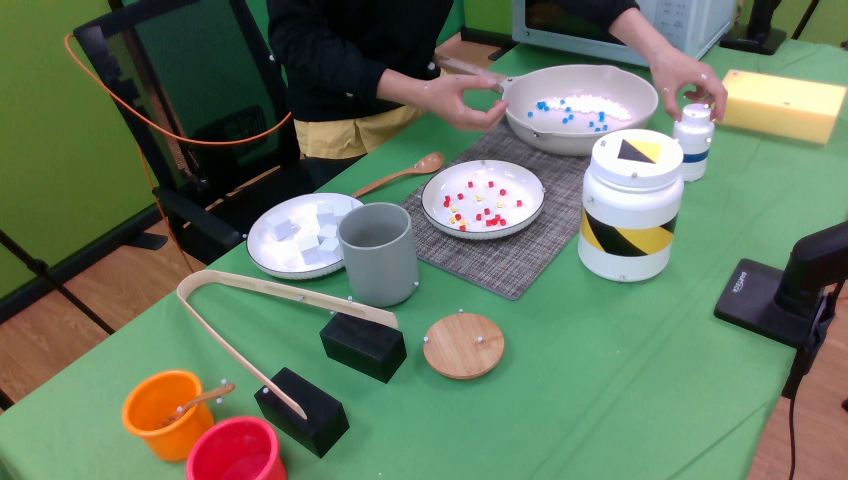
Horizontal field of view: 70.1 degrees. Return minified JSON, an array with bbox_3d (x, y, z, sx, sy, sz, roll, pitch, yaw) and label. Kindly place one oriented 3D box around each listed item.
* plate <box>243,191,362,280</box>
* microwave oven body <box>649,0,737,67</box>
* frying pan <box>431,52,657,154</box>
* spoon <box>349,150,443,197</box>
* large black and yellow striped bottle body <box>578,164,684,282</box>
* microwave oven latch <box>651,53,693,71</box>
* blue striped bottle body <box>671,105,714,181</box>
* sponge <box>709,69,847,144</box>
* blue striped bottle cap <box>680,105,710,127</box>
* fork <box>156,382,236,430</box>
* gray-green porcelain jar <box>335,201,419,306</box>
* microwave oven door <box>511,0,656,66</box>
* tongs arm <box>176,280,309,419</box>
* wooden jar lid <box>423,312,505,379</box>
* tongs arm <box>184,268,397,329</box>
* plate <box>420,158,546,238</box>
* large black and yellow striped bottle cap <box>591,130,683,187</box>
[{"bbox_3d":[-0.188,-0.005,0.992,0.207,0.039,0.206,-4,41,4],"label":"plate"},{"bbox_3d":[0.475,-0.602,1.411,0.438,0.261,0.327,23,50,32],"label":"microwave oven body"},{"bbox_3d":[0.215,-0.302,1.223,0.484,0.103,0.308,29,49,24],"label":"frying pan"},{"bbox_3d":[-0.051,-0.123,1.120,0.194,0.022,0.041,-23,60,-18],"label":"spoon"},{"bbox_3d":[0.291,-0.046,0.859,0.131,0.185,0.130,-4,41,4],"label":"large black and yellow striped bottle body"},{"bbox_3d":[0.532,-0.387,1.301,0.078,0.029,0.030,28,52,35],"label":"microwave oven latch"},{"bbox_3d":[0.451,-0.165,1.022,0.063,0.121,0.063,-4,40,4],"label":"blue striped bottle body"},{"bbox_3d":[0.663,-0.256,1.141,0.205,0.061,0.118,19,47,27],"label":"sponge"},{"bbox_3d":[0.444,-0.204,0.989,0.044,0.021,0.044,-4,38,4],"label":"blue striped bottle cap"},{"bbox_3d":[-0.262,0.189,0.690,0.018,0.206,0.028,49,43,-7],"label":"fork"},{"bbox_3d":[-0.064,0.024,0.872,0.106,0.127,0.105,-4,41,4],"label":"gray-green porcelain jar"},{"bbox_3d":[0.351,-0.540,1.349,0.353,0.245,0.039,24,50,31],"label":"microwave oven door"},{"bbox_3d":[-0.254,0.133,0.801,0.028,0.028,0.384,-41,41,-23],"label":"tongs arm"},{"bbox_3d":[0.053,0.142,0.800,0.108,0.021,0.108,-5,39,4],"label":"wooden jar lid"},{"bbox_3d":[-0.202,0.084,0.848,0.382,0.027,0.051,11,45,35],"label":"tongs arm"},{"bbox_3d":[0.099,-0.067,1.017,0.209,0.038,0.208,-4,40,4],"label":"plate"},{"bbox_3d":[0.282,-0.111,0.803,0.115,0.019,0.114,-3,41,3],"label":"large black and yellow striped bottle cap"}]
